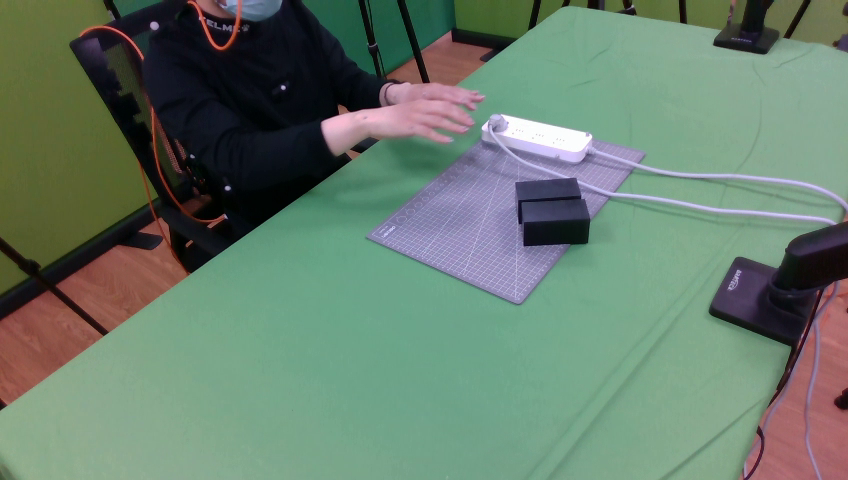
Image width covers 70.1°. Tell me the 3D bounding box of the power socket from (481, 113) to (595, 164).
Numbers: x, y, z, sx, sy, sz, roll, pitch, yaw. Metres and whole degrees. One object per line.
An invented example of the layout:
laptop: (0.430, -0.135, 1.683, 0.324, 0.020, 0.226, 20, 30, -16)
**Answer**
power socket: (0.212, -0.197, 1.154, 0.225, 0.033, 0.072, 21, 49, 27)

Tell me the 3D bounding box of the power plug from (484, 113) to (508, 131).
power plug: (0.130, -0.215, 1.158, 0.035, 0.053, 0.073, 31, 57, 35)
